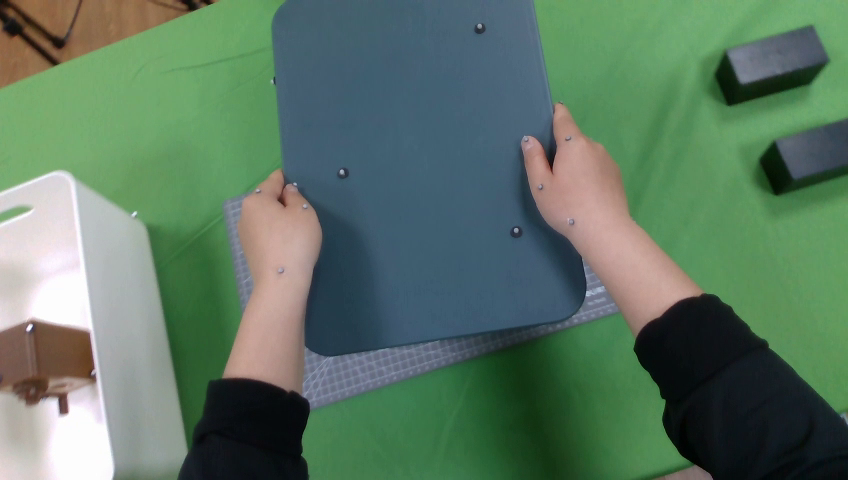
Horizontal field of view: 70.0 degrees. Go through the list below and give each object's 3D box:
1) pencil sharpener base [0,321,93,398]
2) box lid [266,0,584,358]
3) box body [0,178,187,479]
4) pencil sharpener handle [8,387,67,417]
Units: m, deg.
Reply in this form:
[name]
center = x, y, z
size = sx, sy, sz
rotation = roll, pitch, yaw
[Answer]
[pencil sharpener base]
center = -0.463, 0.150, 0.733
size = 0.061, 0.108, 0.076
rotation = -21, 72, 3
[box lid]
center = -0.011, -0.090, 0.570
size = 0.263, 0.015, 0.369
rotation = -10, 76, 6
[box body]
center = -0.452, 0.148, 0.709
size = 0.254, 0.161, 0.361
rotation = -21, 71, 3
[pencil sharpener handle]
center = -0.446, 0.191, 0.705
size = 0.036, 0.068, 0.030
rotation = -24, 71, 12
